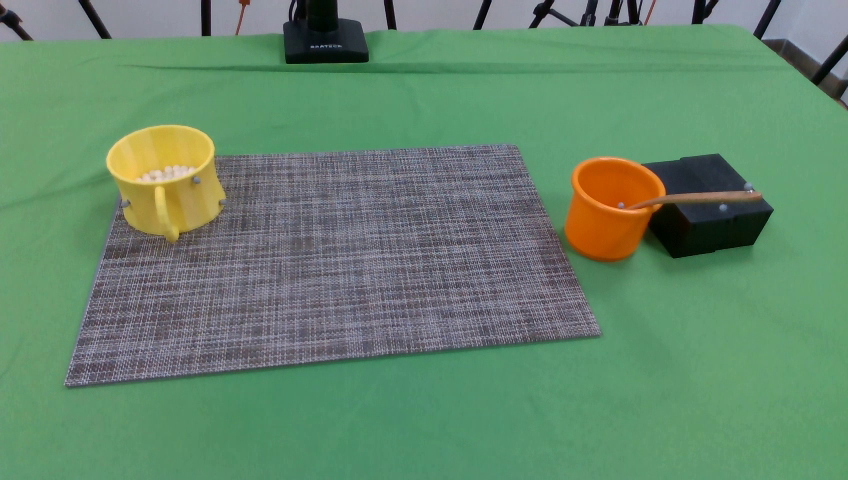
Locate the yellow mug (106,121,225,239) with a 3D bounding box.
[{"bbox_3d":[-0.254,-0.056,0.603,0.100,0.064,0.129,-8,46,-14],"label":"yellow mug"}]

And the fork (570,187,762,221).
[{"bbox_3d":[0.216,-0.035,0.571,0.028,0.019,0.206,-28,9,-28],"label":"fork"}]
